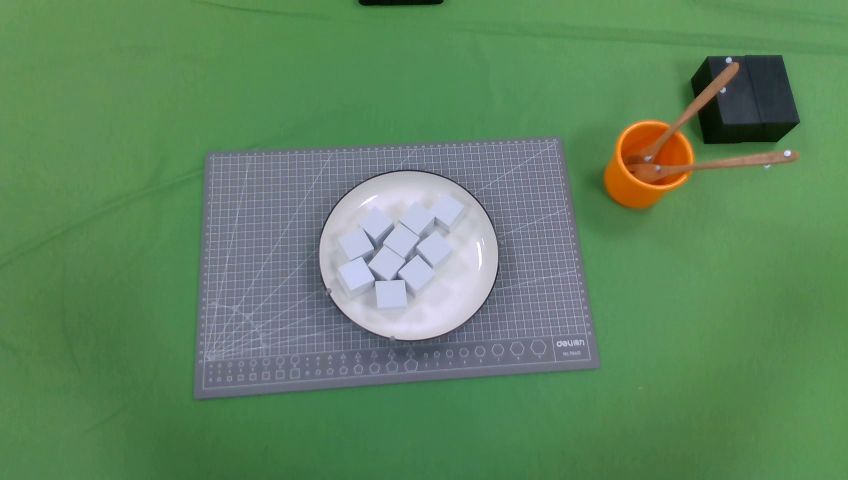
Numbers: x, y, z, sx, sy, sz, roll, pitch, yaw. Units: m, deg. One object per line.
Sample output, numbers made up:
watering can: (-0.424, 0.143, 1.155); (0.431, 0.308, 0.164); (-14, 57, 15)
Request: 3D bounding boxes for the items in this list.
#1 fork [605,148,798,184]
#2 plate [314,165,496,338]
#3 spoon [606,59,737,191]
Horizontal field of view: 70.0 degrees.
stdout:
fork: (0.307, -0.086, 0.692); (0.206, 0.019, 0.028); (-3, 84, 42)
plate: (-0.022, 0.013, 0.703); (0.208, 0.039, 0.206); (1, 71, -3)
spoon: (0.289, -0.131, 0.712); (0.041, 0.194, 0.022); (51, 33, 17)
